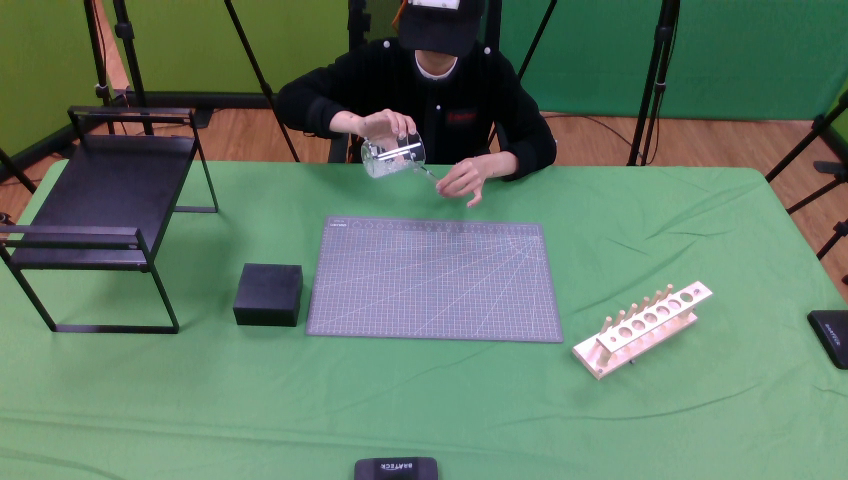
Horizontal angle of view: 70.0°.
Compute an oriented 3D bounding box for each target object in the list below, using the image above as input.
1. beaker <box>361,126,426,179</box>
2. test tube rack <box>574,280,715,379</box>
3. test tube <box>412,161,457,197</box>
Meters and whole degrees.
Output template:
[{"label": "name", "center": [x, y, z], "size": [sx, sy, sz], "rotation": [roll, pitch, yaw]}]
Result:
[{"label": "beaker", "center": [-0.058, -0.155, 1.099], "size": [0.100, 0.084, 0.073], "rotation": [-19, 47, -19]}, {"label": "test tube rack", "center": [0.378, 0.140, 1.038], "size": [0.242, 0.085, 0.066], "rotation": [-22, 51, -23]}, {"label": "test tube", "center": [0.023, -0.118, 1.198], "size": [0.017, 0.151, 0.017], "rotation": [-14, 64, 30]}]
